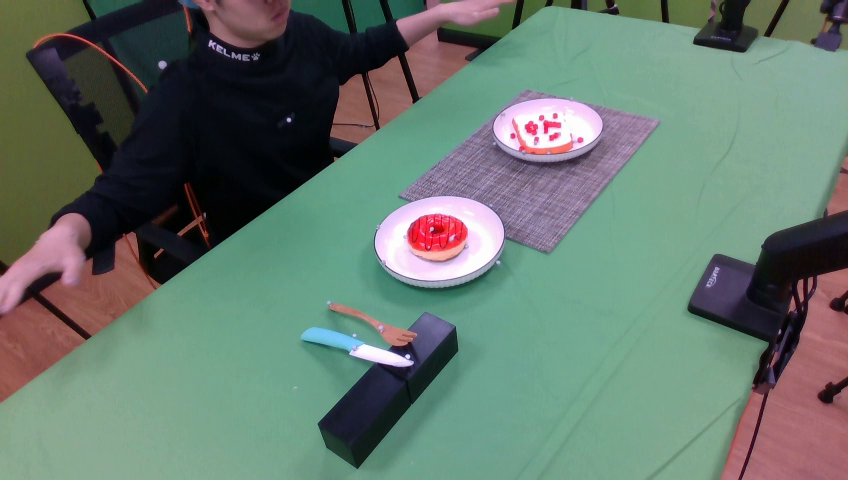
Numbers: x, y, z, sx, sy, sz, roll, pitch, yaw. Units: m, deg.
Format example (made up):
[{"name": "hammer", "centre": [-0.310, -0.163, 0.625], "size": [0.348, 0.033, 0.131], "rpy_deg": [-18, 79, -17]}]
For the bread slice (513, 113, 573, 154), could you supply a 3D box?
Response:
[{"name": "bread slice", "centre": [0.233, -0.205, 1.160], "size": [0.105, 0.019, 0.131], "rpy_deg": [-7, 40, 1]}]

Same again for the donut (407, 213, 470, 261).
[{"name": "donut", "centre": [0.022, -0.006, 0.944], "size": [0.099, 0.048, 0.098], "rpy_deg": [-4, 38, 3]}]

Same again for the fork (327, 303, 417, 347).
[{"name": "fork", "centre": [-0.077, 0.110, 0.811], "size": [0.028, 0.019, 0.205], "rpy_deg": [-41, 33, -26]}]

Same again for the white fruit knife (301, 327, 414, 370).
[{"name": "white fruit knife", "centre": [-0.088, 0.140, 0.781], "size": [0.205, 0.016, 0.027], "rpy_deg": [8, 42, 42]}]

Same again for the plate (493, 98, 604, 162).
[{"name": "plate", "centre": [0.237, -0.206, 1.158], "size": [0.209, 0.038, 0.208], "rpy_deg": [-4, 40, 4]}]

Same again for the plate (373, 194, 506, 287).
[{"name": "plate", "centre": [0.025, 0.003, 0.952], "size": [0.207, 0.039, 0.206], "rpy_deg": [-4, 41, 4]}]
